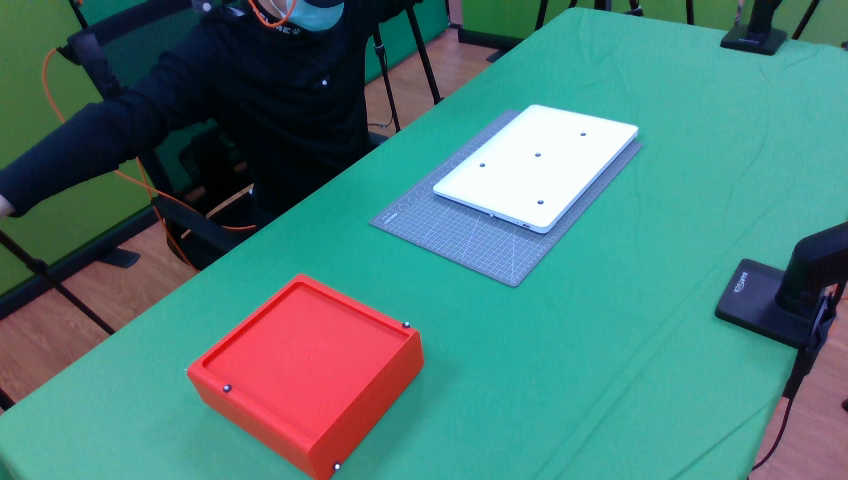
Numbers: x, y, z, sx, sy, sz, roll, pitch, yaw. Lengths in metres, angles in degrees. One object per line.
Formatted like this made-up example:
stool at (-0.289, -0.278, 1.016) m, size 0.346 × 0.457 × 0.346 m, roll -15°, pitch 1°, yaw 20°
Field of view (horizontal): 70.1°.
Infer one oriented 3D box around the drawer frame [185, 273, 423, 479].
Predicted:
drawer frame at (-0.145, 0.158, 0.760) m, size 0.212 × 0.083 × 0.202 m, roll 22°, pitch 47°, yaw 28°

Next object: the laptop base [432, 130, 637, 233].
laptop base at (0.210, -0.142, 1.111) m, size 0.233 × 0.023 × 0.355 m, roll 21°, pitch 47°, yaw 34°

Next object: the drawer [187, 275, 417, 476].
drawer at (-0.148, 0.159, 0.761) m, size 0.210 × 0.073 × 0.195 m, roll 22°, pitch 47°, yaw 29°

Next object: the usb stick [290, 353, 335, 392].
usb stick at (-0.146, 0.172, 0.774) m, size 0.059 × 0.027 × 0.021 m, roll -29°, pitch 44°, yaw -24°

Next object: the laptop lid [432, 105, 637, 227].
laptop lid at (0.207, -0.152, 1.105) m, size 0.239 × 0.013 × 0.358 m, roll 23°, pitch 49°, yaw 34°
